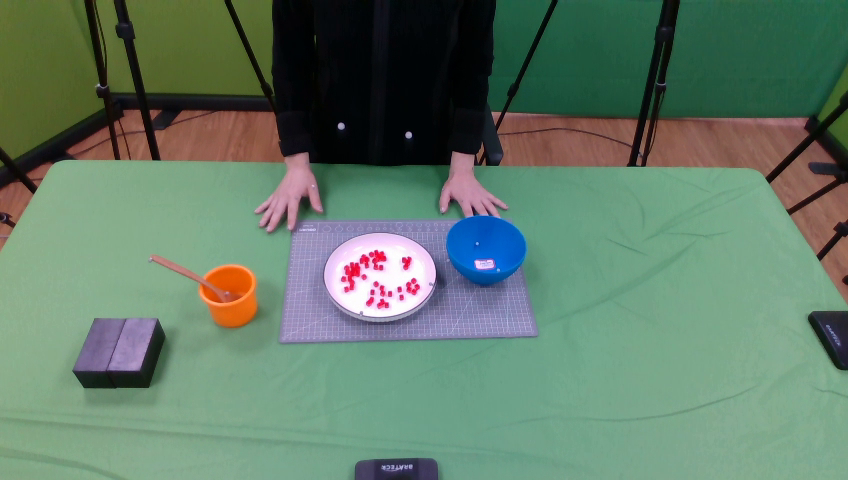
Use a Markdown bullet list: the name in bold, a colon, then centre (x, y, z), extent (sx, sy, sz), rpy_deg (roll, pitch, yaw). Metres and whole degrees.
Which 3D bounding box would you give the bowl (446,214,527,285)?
- **bowl**: centre (0.112, 0.031, 1.134), extent (0.151, 0.077, 0.150), rpy_deg (2, 46, -2)

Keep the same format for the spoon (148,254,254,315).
- **spoon**: centre (-0.368, 0.072, 1.012), extent (0.021, 0.195, 0.041), rpy_deg (-31, 36, 29)

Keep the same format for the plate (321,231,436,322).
- **plate**: centre (-0.083, 0.070, 1.109), extent (0.209, 0.038, 0.208), rpy_deg (3, 46, -3)
